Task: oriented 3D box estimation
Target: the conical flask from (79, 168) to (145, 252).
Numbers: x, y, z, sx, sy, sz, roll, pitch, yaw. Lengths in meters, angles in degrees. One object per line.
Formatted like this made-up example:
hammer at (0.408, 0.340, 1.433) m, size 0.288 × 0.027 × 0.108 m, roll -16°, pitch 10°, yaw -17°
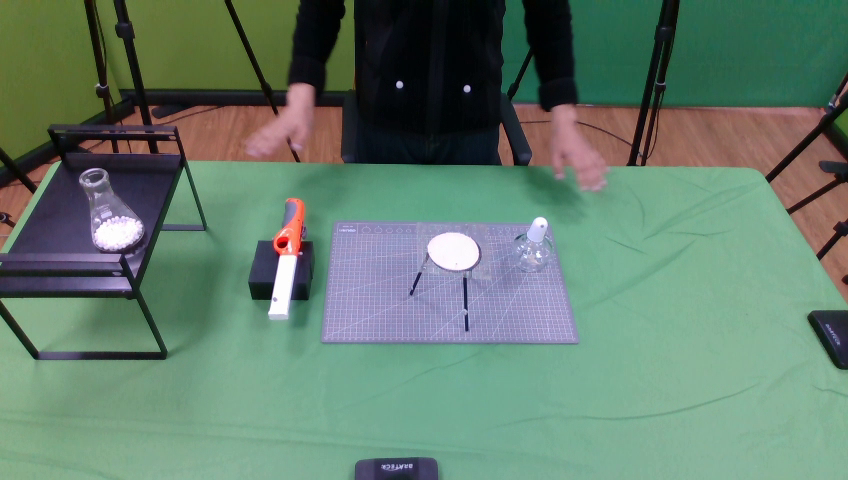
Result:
conical flask at (-0.463, -0.048, 0.888) m, size 0.075 × 0.122 × 0.075 m, roll 2°, pitch 46°, yaw -2°

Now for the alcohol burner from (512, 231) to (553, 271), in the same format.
alcohol burner at (0.208, 0.002, 1.144) m, size 0.078 × 0.119 × 0.077 m, roll 3°, pitch 44°, yaw -3°

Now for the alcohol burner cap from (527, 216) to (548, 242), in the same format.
alcohol burner cap at (0.212, -0.023, 1.119) m, size 0.034 × 0.048 × 0.033 m, roll 8°, pitch 46°, yaw -8°

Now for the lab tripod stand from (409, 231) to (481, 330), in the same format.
lab tripod stand at (0.051, 0.064, 1.059) m, size 0.148 × 0.132 × 0.147 m, roll 3°, pitch 46°, yaw -3°

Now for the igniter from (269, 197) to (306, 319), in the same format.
igniter at (-0.246, 0.023, 1.087) m, size 0.057 × 0.025 × 0.274 m, roll -1°, pitch 49°, yaw -2°

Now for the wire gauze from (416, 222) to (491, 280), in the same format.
wire gauze at (0.048, 0.014, 1.013) m, size 0.125 × 0.011 × 0.120 m, roll 3°, pitch 47°, yaw -2°
